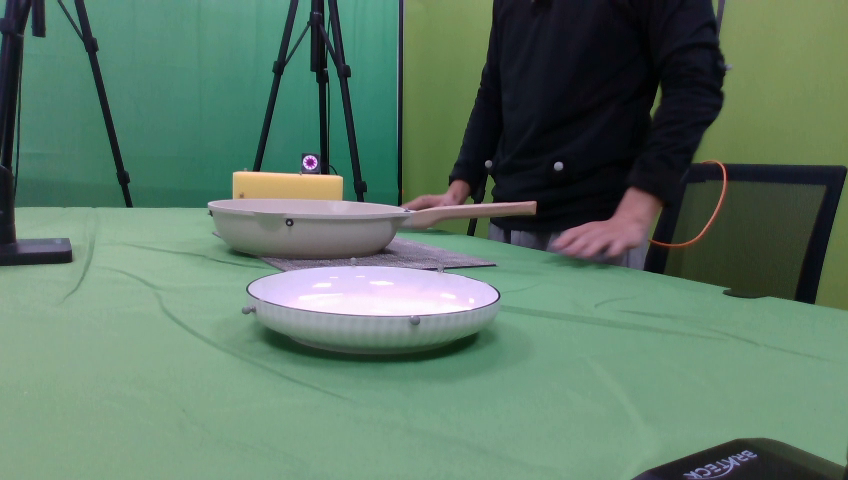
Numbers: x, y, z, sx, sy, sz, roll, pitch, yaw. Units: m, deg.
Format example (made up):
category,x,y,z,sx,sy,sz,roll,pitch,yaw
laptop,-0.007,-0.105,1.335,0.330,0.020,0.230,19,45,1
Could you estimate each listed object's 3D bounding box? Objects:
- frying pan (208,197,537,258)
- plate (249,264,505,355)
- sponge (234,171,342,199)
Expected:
category,x,y,z,sx,sy,sz,roll,pitch,yaw
frying pan,-0.076,-0.034,0.913,0.487,0.102,0.307,-5,7,11
plate,-0.037,0.056,0.504,0.208,0.039,0.207,2,7,0
sponge,-0.273,-0.105,1.223,0.207,0.061,0.118,0,7,-14
